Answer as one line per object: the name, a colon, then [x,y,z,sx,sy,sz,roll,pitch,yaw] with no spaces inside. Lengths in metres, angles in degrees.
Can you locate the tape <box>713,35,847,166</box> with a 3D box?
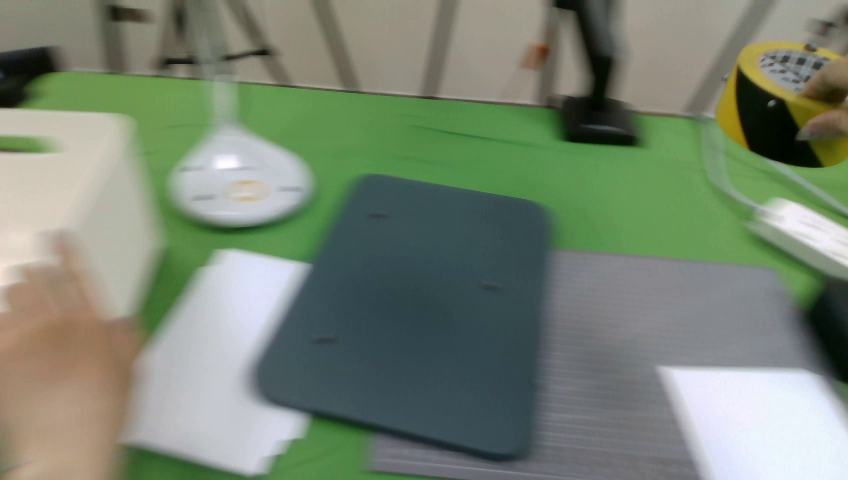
tape: [0.302,-0.115,0.489,0.117,0.053,0.115,2,47,-2]

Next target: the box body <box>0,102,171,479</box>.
box body: [-0.396,0.044,0.509,0.254,0.162,0.360,2,41,-3]

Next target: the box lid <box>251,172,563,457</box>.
box lid: [0.005,0.048,0.654,0.263,0.015,0.369,11,41,9]

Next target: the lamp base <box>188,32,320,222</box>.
lamp base: [-0.214,-0.140,0.720,0.161,0.182,0.177,-16,43,-22]

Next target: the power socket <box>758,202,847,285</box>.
power socket: [0.513,0.026,0.709,0.072,0.033,0.224,-25,49,-30]
